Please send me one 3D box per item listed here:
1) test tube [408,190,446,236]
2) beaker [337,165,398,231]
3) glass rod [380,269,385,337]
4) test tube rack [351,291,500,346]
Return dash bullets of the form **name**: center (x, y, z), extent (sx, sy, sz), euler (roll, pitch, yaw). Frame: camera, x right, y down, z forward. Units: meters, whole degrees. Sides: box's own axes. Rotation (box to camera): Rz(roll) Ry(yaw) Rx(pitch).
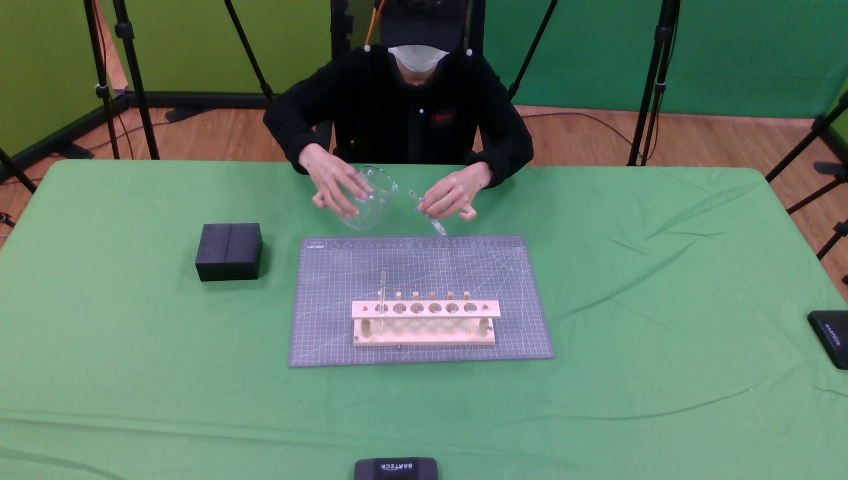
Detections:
- **test tube**: center (0.008, -0.047, 1.129), extent (0.017, 0.151, 0.017), euler (-13, 56, 20)
- **beaker**: center (-0.104, -0.072, 1.086), extent (0.084, 0.100, 0.073), euler (18, 35, -31)
- **glass rod**: center (-0.066, 0.104, 0.953), extent (0.008, 0.200, 0.008), euler (2, 52, -3)
- **test tube rack**: center (0.000, 0.129, 1.026), extent (0.242, 0.085, 0.066), euler (0, 46, -4)
